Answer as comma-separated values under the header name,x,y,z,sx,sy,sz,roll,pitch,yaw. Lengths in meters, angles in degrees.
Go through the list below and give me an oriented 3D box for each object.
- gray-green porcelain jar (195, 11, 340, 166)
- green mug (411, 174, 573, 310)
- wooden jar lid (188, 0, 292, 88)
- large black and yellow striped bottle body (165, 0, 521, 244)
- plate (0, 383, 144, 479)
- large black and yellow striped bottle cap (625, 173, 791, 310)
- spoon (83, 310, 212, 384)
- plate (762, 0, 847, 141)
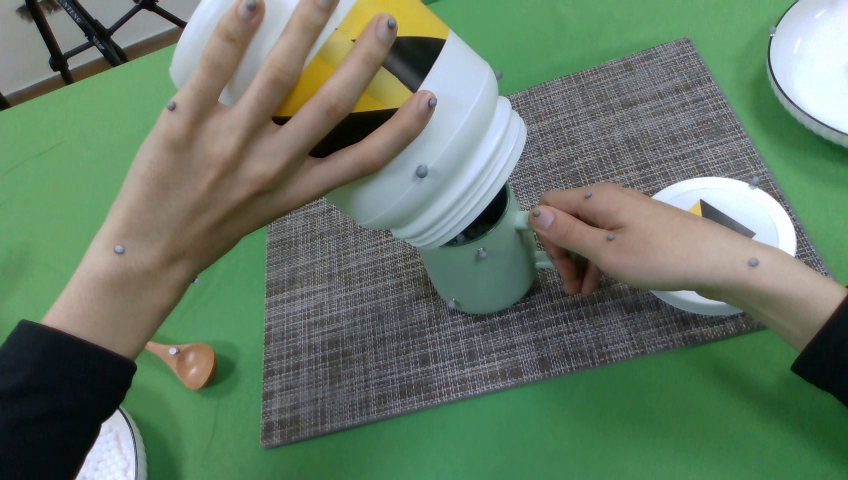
name,x,y,z,sx,sy,sz,roll,pitch,yaw
gray-green porcelain jar,-0.152,-0.147,0.619,0.105,0.128,0.105,-10,52,14
green mug,0.051,-0.004,0.468,0.125,0.106,0.092,2,60,21
wooden jar lid,-0.170,-0.183,0.571,0.108,0.021,0.107,-11,55,17
large black and yellow striped bottle body,-0.042,-0.092,0.372,0.131,0.185,0.129,-44,21,23
plate,-0.319,0.223,0.501,0.209,0.038,0.207,-9,56,14
large black and yellow striped bottle cap,0.214,-0.002,0.463,0.115,0.019,0.114,-10,56,15
spoon,-0.267,0.092,0.575,0.192,0.022,0.041,14,79,26
plate,0.386,-0.149,0.486,0.207,0.039,0.205,-9,57,14
